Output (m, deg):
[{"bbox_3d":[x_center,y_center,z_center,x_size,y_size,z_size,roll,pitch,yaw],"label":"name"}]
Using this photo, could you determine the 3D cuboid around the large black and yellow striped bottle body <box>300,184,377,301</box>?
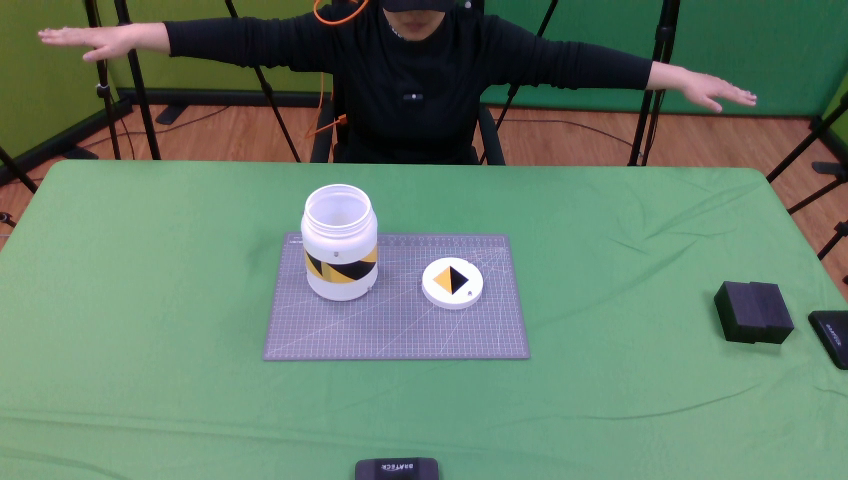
[{"bbox_3d":[-0.148,0.004,1.067,0.131,0.185,0.130,2,46,-2],"label":"large black and yellow striped bottle body"}]

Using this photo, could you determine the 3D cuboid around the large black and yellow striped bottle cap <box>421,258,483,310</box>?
[{"bbox_3d":[0.053,0.081,1.126,0.115,0.019,0.114,2,45,-1],"label":"large black and yellow striped bottle cap"}]
